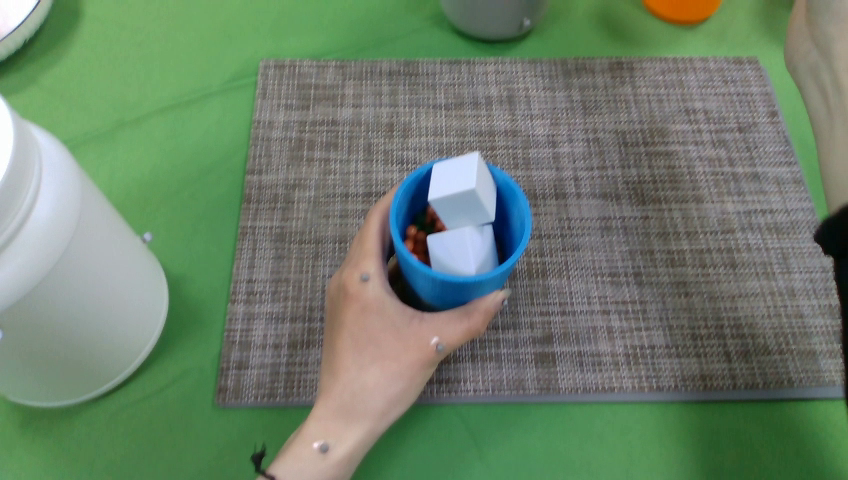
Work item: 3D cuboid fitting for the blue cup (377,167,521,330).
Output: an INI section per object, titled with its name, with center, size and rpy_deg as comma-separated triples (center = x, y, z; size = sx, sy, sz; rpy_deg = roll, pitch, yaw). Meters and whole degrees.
[blue cup]
center = 0.016, 0.015, 0.402
size = 0.092, 0.101, 0.092
rpy_deg = 0, 63, 1

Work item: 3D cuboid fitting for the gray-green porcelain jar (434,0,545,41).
[gray-green porcelain jar]
center = 0.060, -0.247, 0.522
size = 0.106, 0.127, 0.105
rpy_deg = 0, 62, 0

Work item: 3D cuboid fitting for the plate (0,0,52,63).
[plate]
center = -0.434, -0.208, 0.539
size = 0.208, 0.039, 0.206
rpy_deg = 1, 63, -1

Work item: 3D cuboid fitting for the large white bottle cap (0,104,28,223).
[large white bottle cap]
center = -0.243, -0.029, 0.273
size = 0.115, 0.018, 0.114
rpy_deg = 1, 62, -1

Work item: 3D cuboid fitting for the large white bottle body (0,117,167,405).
[large white bottle body]
center = -0.244, 0.011, 0.347
size = 0.131, 0.186, 0.129
rpy_deg = 1, 62, -1
